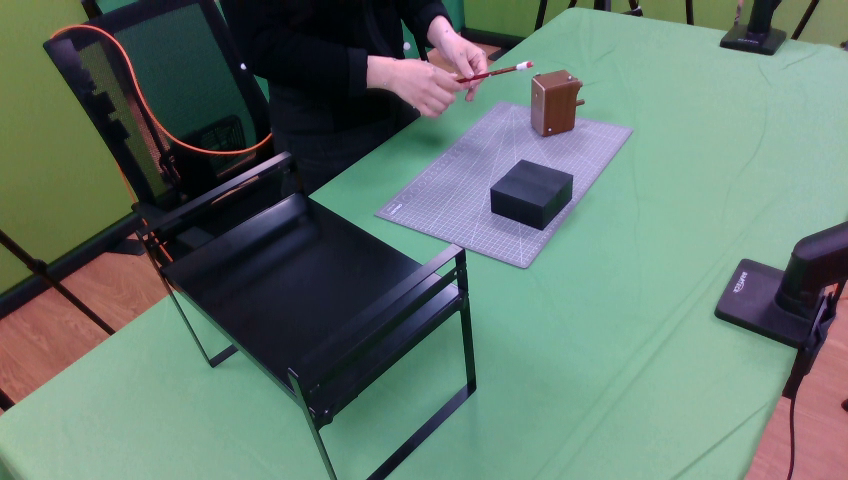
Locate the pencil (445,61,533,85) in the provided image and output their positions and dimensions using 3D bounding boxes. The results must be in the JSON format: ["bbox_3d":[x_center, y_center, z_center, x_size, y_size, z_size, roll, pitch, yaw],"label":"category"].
[{"bbox_3d":[0.112,-0.298,1.089,0.192,0.012,0.012,-1,36,41],"label":"pencil"}]

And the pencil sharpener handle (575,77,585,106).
[{"bbox_3d":[0.303,-0.292,1.181,0.031,0.068,0.035,-15,48,-9],"label":"pencil sharpener handle"}]

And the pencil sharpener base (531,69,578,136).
[{"bbox_3d":[0.256,-0.268,1.179,0.077,0.107,0.061,-15,41,-9],"label":"pencil sharpener base"}]
